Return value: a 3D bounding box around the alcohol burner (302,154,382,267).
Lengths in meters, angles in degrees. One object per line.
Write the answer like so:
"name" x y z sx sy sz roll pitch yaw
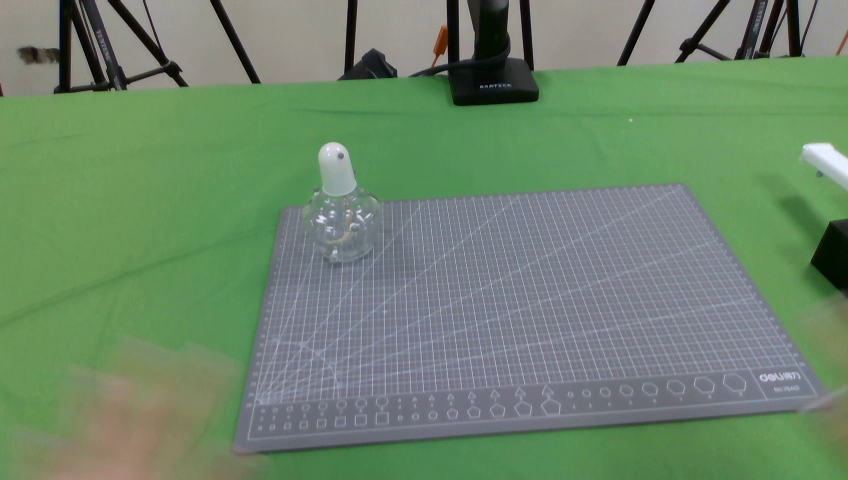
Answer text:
"alcohol burner" -0.079 -0.033 0.575 0.078 0.120 0.077 0 41 0

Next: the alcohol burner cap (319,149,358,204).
"alcohol burner cap" -0.079 -0.061 0.552 0.034 0.048 0.033 -2 41 3

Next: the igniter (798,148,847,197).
"igniter" 0.427 -0.013 0.530 0.057 0.025 0.273 -5 35 -4
